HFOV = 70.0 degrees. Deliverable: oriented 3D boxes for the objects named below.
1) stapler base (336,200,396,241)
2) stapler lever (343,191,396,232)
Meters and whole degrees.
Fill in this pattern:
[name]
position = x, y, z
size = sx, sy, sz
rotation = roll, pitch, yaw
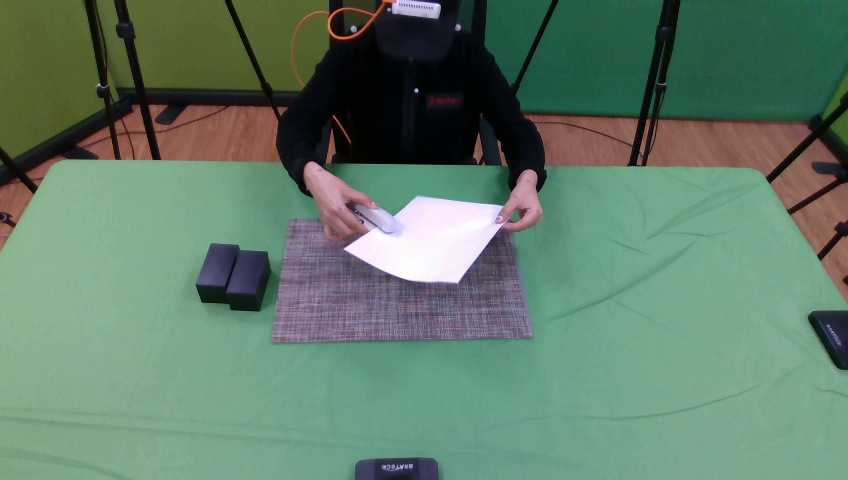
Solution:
[stapler base]
position = -0.104, -0.043, 1.122
size = 0.130, 0.024, 0.041
rotation = 34, 23, 23
[stapler lever]
position = -0.099, -0.056, 1.116
size = 0.117, 0.040, 0.027
rotation = 45, 26, 18
